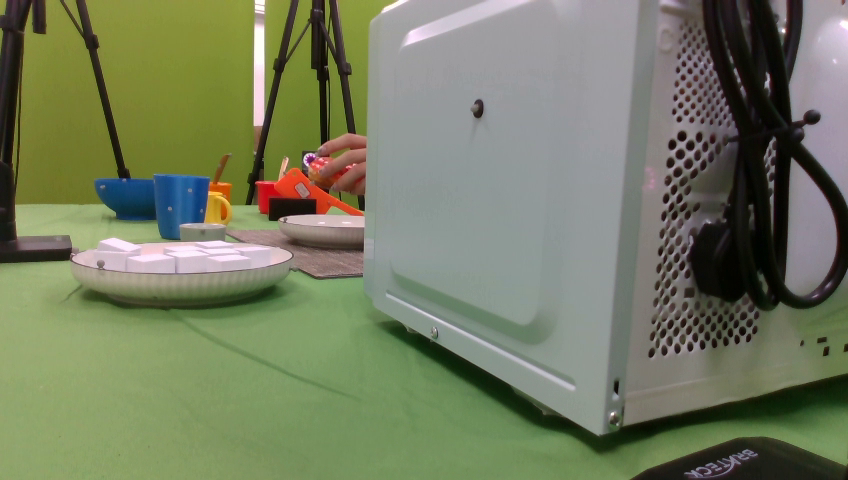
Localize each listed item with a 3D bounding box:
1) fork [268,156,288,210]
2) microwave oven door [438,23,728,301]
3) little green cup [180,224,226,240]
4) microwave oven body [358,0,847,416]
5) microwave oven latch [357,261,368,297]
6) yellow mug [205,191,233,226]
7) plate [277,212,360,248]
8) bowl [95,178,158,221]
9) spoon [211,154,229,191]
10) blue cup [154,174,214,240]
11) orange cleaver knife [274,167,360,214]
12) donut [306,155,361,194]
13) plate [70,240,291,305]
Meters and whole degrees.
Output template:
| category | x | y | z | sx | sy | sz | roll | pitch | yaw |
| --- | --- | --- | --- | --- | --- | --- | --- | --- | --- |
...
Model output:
| category | x | y | z | sx | sy | sz | roll | pitch | yaw |
| --- | --- | --- | --- | --- | --- | --- | --- | --- | --- |
| fork | -0.360 | -0.144 | 1.508 | 0.028 | 0.018 | 0.207 | 2 | 49 | 0 |
| microwave oven door | 0.181 | -0.072 | 0.620 | 0.358 | 0.243 | 0.039 | -2 | 8 | -29 |
| little green cup | -0.309 | -0.001 | 0.846 | 0.061 | 0.038 | 0.061 | 2 | 8 | 0 |
| microwave oven body | 0.211 | -0.047 | 0.474 | 0.444 | 0.260 | 0.324 | -1 | 7 | -28 |
| microwave oven latch | -0.019 | 0.033 | 0.531 | 0.079 | 0.029 | 0.030 | -1 | 7 | -27 |
| yellow mug | -0.415 | -0.057 | 1.132 | 0.130 | 0.064 | 0.100 | 6 | 8 | 16 |
| plate | -0.135 | -0.017 | 0.992 | 0.209 | 0.038 | 0.209 | 3 | 8 | 0 |
| bowl | -0.576 | -0.081 | 1.217 | 0.151 | 0.077 | 0.151 | 3 | 8 | 0 |
| spoon | -0.431 | -0.115 | 1.253 | 0.042 | 0.193 | 0.021 | -4 | 54 | -33 |
| blue cup | -0.391 | -0.053 | 0.978 | 0.093 | 0.100 | 0.092 | 4 | 6 | 0 |
| orange cleaver knife | -0.238 | -0.091 | 1.381 | 0.212 | 0.077 | 0.012 | 31 | 0 | -19 |
| donut | -0.123 | -0.096 | 0.884 | 0.099 | 0.048 | 0.099 | 14 | 10 | -2 |
| plate | -0.242 | 0.031 | 0.618 | 0.208 | 0.039 | 0.207 | 2 | 7 | 0 |
